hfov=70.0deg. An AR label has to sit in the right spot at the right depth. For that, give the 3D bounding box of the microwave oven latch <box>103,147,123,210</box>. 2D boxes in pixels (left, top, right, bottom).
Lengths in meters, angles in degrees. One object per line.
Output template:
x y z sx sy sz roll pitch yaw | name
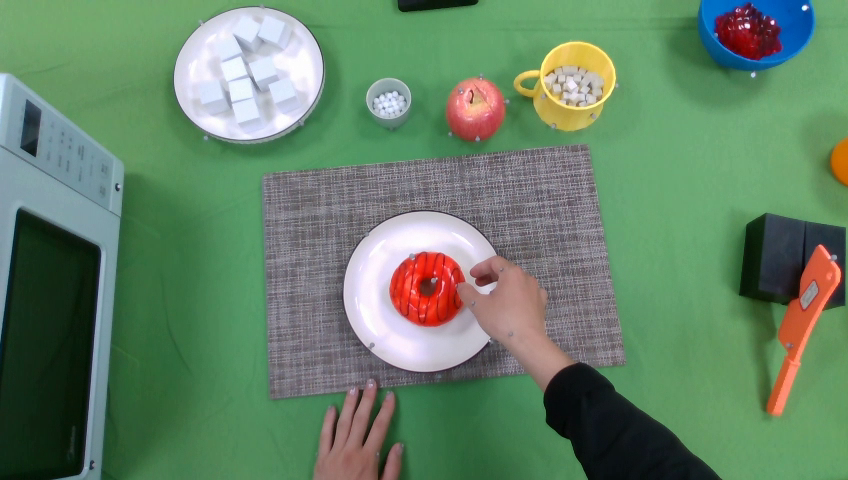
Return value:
-0.414 -0.080 0.794 0.030 0.029 0.079 -1 77 0 | microwave oven latch

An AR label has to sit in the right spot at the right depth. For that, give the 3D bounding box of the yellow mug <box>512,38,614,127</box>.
0.185 -0.214 0.826 0.131 0.064 0.099 5 76 3 | yellow mug

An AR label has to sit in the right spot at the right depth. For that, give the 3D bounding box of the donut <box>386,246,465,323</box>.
0.002 0.056 0.760 0.099 0.048 0.098 0 79 1 | donut

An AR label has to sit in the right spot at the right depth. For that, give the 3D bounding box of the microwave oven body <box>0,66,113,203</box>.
-0.557 0.073 0.658 0.326 0.261 0.439 -3 77 0 | microwave oven body

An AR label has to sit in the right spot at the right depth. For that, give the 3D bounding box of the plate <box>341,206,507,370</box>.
0.000 0.060 0.771 0.209 0.038 0.208 0 76 1 | plate

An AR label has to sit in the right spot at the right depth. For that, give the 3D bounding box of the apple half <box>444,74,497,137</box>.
0.055 -0.172 0.814 0.053 0.075 0.080 -32 81 -2 | apple half

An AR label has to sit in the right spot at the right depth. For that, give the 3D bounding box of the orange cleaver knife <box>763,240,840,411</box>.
0.448 0.104 0.732 0.012 0.077 0.212 13 108 6 | orange cleaver knife

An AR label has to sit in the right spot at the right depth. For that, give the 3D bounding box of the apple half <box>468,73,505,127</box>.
0.089 -0.193 0.817 0.033 0.081 0.081 -33 77 -2 | apple half

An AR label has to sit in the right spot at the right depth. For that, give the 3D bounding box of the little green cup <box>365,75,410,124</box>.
-0.049 -0.192 0.837 0.061 0.039 0.061 0 76 1 | little green cup

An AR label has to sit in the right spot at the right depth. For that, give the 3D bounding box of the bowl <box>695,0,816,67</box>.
0.441 -0.297 0.837 0.151 0.077 0.150 0 76 1 | bowl

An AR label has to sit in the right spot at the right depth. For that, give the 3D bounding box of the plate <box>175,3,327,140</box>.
-0.238 -0.232 0.849 0.208 0.039 0.206 0 76 1 | plate

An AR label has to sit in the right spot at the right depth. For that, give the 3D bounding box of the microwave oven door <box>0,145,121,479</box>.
-0.409 0.107 0.643 0.039 0.245 0.354 -3 76 0 | microwave oven door

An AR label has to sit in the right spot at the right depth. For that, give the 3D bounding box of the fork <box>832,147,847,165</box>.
0.631 -0.124 0.755 0.206 0.019 0.028 -10 67 44 | fork
